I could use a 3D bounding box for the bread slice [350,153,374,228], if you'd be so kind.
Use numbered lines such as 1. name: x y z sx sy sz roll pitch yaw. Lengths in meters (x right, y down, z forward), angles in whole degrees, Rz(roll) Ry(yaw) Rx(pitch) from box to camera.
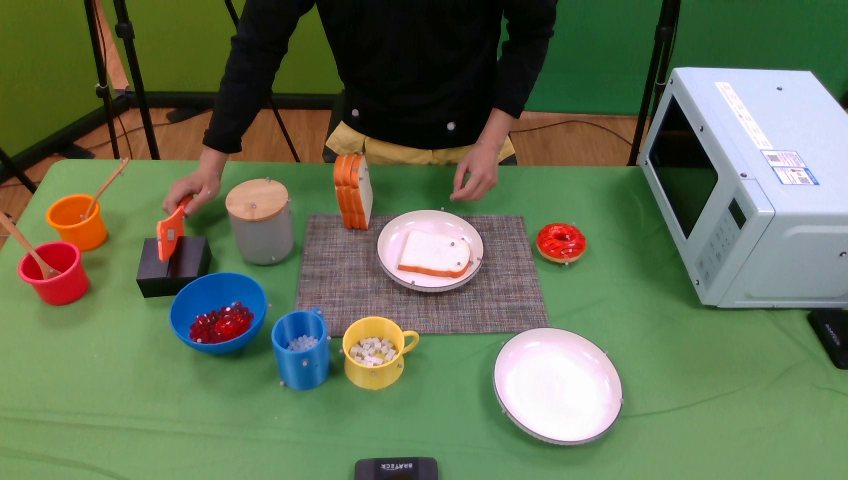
1. bread slice: -0.124 -0.103 1.207 0.018 0.135 0.106 -1 48 7

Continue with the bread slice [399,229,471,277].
1. bread slice: 0.025 0.024 1.161 0.131 0.019 0.104 7 47 8

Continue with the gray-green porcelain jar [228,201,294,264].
1. gray-green porcelain jar: -0.299 -0.027 1.126 0.106 0.127 0.105 2 46 -2

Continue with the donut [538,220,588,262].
1. donut: 0.273 0.000 1.198 0.099 0.048 0.098 0 46 0

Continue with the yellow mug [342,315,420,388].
1. yellow mug: -0.068 0.177 0.990 0.131 0.064 0.099 -15 50 -19

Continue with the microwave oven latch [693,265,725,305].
1. microwave oven latch: 0.522 0.081 1.115 0.030 0.029 0.078 2 46 -1

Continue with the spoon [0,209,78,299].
1. spoon: -0.668 0.021 1.040 0.041 0.021 0.194 -41 105 -29

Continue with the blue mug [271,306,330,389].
1. blue mug: -0.188 0.163 0.969 0.082 0.106 0.116 15 47 10

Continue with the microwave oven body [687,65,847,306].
1. microwave oven body: 0.669 -0.111 1.176 0.326 0.261 0.439 0 46 -3

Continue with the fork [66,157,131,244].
1. fork: -0.608 -0.074 1.132 0.207 0.019 0.028 -52 48 10

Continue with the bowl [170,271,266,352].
1. bowl: -0.333 0.132 1.006 0.151 0.077 0.150 2 46 -2

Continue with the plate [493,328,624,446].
1. plate: 0.213 0.236 0.974 0.208 0.039 0.206 2 46 -2

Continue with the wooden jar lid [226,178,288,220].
1. wooden jar lid: -0.296 -0.070 1.081 0.108 0.021 0.107 1 45 -1

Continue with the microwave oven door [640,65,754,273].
1. microwave oven door: 0.523 -0.147 1.193 0.039 0.245 0.353 0 47 -3

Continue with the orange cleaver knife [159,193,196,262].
1. orange cleaver knife: -0.453 -0.028 1.120 0.012 0.077 0.210 0 24 -4

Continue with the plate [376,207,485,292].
1. plate: 0.012 0.021 1.159 0.209 0.038 0.208 2 47 -2
